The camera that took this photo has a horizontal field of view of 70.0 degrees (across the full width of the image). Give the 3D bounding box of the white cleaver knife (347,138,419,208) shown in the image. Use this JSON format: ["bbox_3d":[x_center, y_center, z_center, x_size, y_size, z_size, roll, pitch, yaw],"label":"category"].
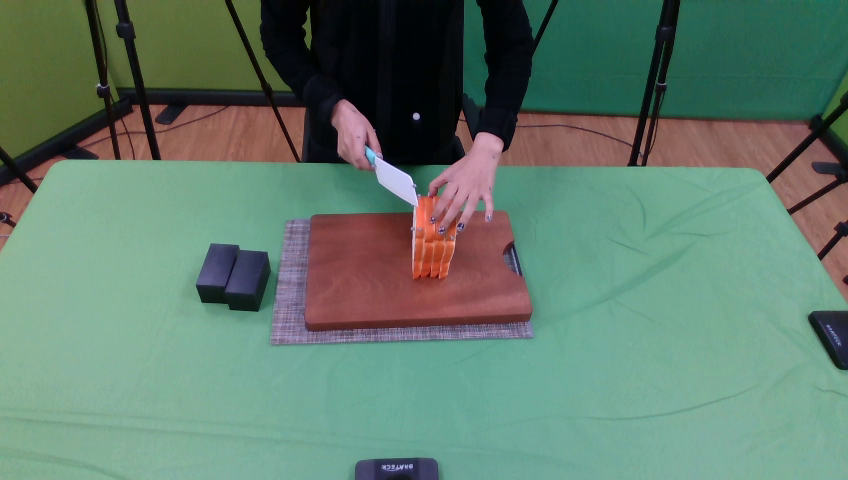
[{"bbox_3d":[-0.080,-0.124,1.086,0.021,0.066,0.284,-19,30,-20],"label":"white cleaver knife"}]

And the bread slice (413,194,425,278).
[{"bbox_3d":[-0.010,-0.015,1.095,0.018,0.135,0.106,0,42,-3],"label":"bread slice"}]

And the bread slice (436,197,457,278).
[{"bbox_3d":[0.040,-0.010,1.097,0.019,0.132,0.104,4,47,-7],"label":"bread slice"}]
